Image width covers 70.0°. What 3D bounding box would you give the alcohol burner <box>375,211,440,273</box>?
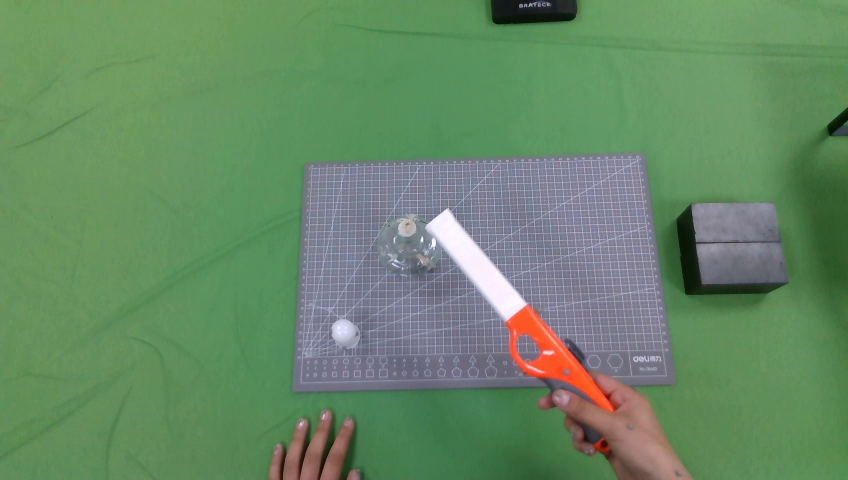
[{"bbox_3d":[-0.020,-0.004,0.711,0.078,0.120,0.077,0,71,0],"label":"alcohol burner"}]

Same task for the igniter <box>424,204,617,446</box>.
[{"bbox_3d":[0.095,0.079,0.596,0.057,0.025,0.275,-38,78,-1],"label":"igniter"}]

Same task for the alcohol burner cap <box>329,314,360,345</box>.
[{"bbox_3d":[-0.096,0.104,0.716,0.034,0.048,0.033,-1,72,4],"label":"alcohol burner cap"}]
